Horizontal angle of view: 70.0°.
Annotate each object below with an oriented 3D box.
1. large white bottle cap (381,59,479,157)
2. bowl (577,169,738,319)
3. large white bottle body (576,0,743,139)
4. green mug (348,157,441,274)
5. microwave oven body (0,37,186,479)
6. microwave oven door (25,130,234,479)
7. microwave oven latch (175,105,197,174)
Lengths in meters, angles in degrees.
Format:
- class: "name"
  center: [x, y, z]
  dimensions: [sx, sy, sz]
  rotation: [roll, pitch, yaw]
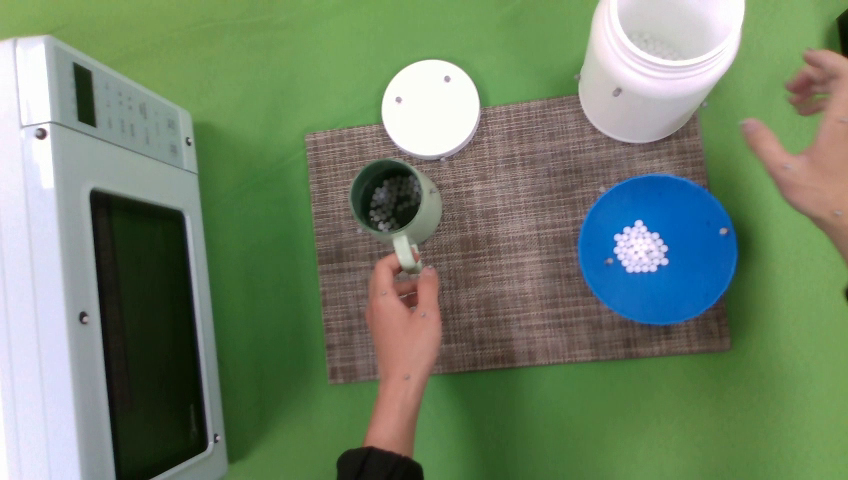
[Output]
- class: "large white bottle cap"
  center: [0.007, -0.153, 0.703]
  dimensions: [0.114, 0.018, 0.114]
  rotation: [-1, 83, 9]
- class: "bowl"
  center: [0.233, 0.006, 0.632]
  dimensions: [0.151, 0.077, 0.151]
  rotation: [-1, 86, 9]
- class: "large white bottle body"
  center: [0.222, -0.187, 0.592]
  dimensions: [0.130, 0.185, 0.130]
  rotation: [-1, 82, 8]
- class: "green mug"
  center: [-0.027, -0.025, 0.658]
  dimensions: [0.092, 0.105, 0.125]
  rotation: [-16, 84, 6]
- class: "microwave oven body"
  center: [-0.427, 0.072, 0.630]
  dimensions: [0.326, 0.261, 0.440]
  rotation: [-9, 86, 7]
- class: "microwave oven door"
  center: [-0.279, 0.092, 0.603]
  dimensions: [0.039, 0.244, 0.355]
  rotation: [-9, 85, 8]
- class: "microwave oven latch"
  center: [-0.292, -0.117, 0.720]
  dimensions: [0.030, 0.029, 0.079]
  rotation: [-8, 86, 7]
